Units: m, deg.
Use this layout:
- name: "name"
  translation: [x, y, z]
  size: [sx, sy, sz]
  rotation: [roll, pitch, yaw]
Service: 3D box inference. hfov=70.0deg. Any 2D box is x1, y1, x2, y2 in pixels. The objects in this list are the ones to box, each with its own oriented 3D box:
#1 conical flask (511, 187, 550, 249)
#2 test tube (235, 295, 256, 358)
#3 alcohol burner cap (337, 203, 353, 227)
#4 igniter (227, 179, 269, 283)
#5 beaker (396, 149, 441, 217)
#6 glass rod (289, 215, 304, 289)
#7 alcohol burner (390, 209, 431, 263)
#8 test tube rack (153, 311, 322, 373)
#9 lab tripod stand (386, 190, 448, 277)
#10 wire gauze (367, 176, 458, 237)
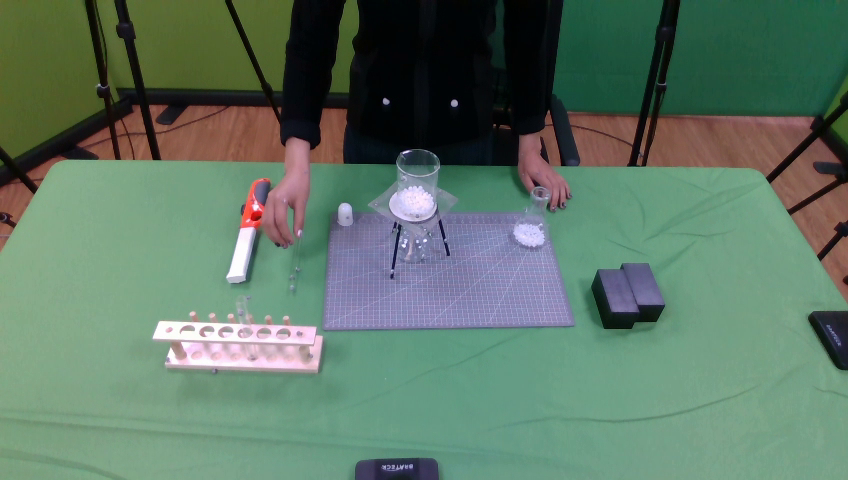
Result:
- name: "conical flask"
  translation: [0.217, -0.048, 1.190]
  size: [0.075, 0.122, 0.075]
  rotation: [2, 46, -2]
- name: "test tube"
  translation: [-0.274, 0.136, 0.933]
  size: [0.017, 0.151, 0.017]
  rotation: [4, 46, -4]
- name: "alcohol burner cap"
  translation: [-0.162, -0.053, 1.221]
  size: [0.034, 0.048, 0.033]
  rotation: [0, 48, 0]
- name: "igniter"
  translation: [-0.345, -0.027, 1.195]
  size: [0.057, 0.025, 0.274]
  rotation: [-6, 46, 5]
- name: "beaker"
  translation: [-0.015, -0.098, 1.053]
  size: [0.074, 0.101, 0.083]
  rotation: [-32, 55, -31]
- name: "glass rod"
  translation: [-0.247, 0.019, 1.171]
  size: [0.008, 0.008, 0.198]
  rotation: [1, 43, -3]
- name: "alcohol burner"
  translation: [-0.024, -0.014, 1.144]
  size: [0.078, 0.119, 0.077]
  rotation: [3, 45, -3]
- name: "test tube rack"
  translation: [-0.293, 0.160, 0.978]
  size: [0.242, 0.085, 0.066]
  rotation: [3, 46, -2]
- name: "lab tripod stand"
  translation: [-0.021, -0.018, 1.135]
  size: [0.148, 0.132, 0.147]
  rotation: [3, 44, -3]
- name: "wire gauze"
  translation: [-0.020, -0.066, 1.089]
  size: [0.124, 0.011, 0.121]
  rotation: [27, 47, 22]
